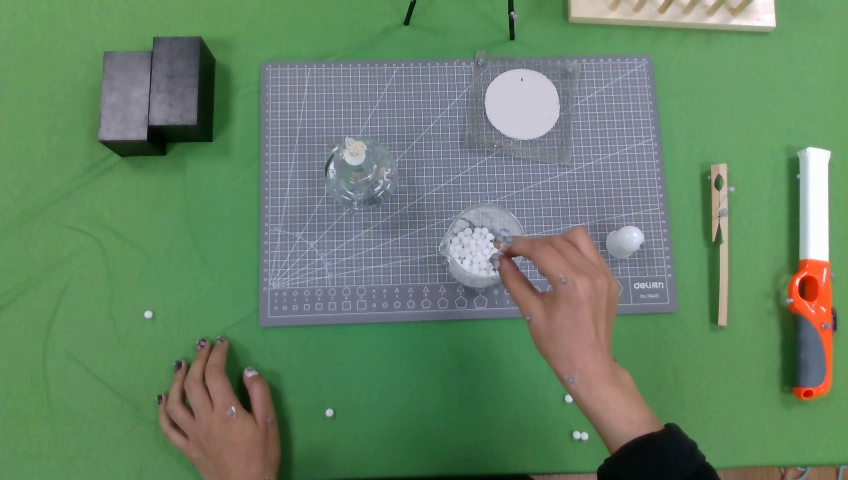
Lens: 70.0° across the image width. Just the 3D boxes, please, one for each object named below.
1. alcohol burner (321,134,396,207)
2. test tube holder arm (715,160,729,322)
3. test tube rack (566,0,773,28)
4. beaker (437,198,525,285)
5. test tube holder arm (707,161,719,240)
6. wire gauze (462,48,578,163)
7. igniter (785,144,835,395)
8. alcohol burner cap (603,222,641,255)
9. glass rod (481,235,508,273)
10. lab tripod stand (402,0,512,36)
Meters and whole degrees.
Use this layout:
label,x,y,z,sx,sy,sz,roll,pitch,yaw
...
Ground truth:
label,x,y,z,sx,sy,sz,roll,pitch,yaw
alcohol burner,-0.068,-0.076,0.615,0.078,0.119,0.077,0,79,0
test tube holder arm,0.326,0.000,0.665,0.013,0.015,0.177,-5,78,33
test tube rack,0.290,-0.296,0.682,0.242,0.085,0.066,2,80,-1
beaker,0.053,0.007,0.613,0.084,0.100,0.073,-9,80,-3
test tube holder arm,0.323,-0.044,0.676,0.010,0.015,0.087,-4,79,33
wire gauze,0.110,-0.156,0.689,0.125,0.011,0.121,9,81,-1
igniter,0.421,0.029,0.661,0.057,0.025,0.275,8,80,-11
alcohol burner cap,0.215,-0.004,0.649,0.034,0.048,0.033,0,80,-2
glass rod,0.062,0.015,0.554,0.008,0.200,0.008,0,80,1
lab tripod stand,0.044,-0.292,0.649,0.148,0.132,0.148,0,82,-1
